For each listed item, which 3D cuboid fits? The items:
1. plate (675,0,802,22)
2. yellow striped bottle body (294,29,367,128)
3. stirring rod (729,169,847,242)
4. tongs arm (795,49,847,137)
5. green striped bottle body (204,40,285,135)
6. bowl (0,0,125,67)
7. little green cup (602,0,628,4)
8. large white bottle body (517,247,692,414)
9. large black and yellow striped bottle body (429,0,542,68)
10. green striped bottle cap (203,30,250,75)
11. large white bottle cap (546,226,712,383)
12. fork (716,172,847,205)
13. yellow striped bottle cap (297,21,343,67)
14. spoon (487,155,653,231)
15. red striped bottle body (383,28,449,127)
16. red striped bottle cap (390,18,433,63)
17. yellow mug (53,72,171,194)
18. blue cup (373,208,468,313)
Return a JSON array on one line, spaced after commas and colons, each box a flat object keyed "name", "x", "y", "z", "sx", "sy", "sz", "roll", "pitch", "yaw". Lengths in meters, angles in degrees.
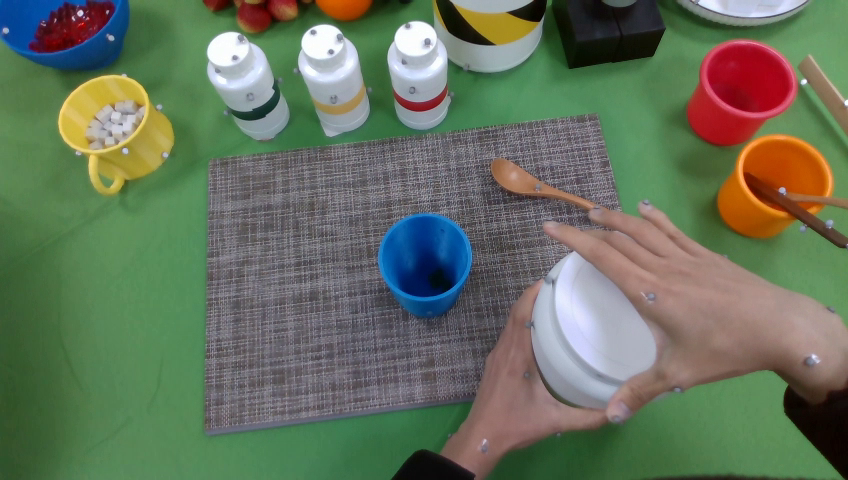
[{"name": "plate", "x": 0.378, "y": -0.351, "z": 0.749, "sx": 0.209, "sy": 0.038, "sz": 0.207, "roll": -1, "pitch": 70, "yaw": 2}, {"name": "yellow striped bottle body", "x": -0.102, "y": -0.180, "z": 0.660, "sx": 0.063, "sy": 0.121, "sz": 0.062, "roll": -1, "pitch": 69, "yaw": 4}, {"name": "stirring rod", "x": 0.343, "y": -0.037, "z": 0.582, "sx": 0.014, "sy": 0.006, "sz": 0.174, "roll": -5, "pitch": 26, "yaw": -2}, {"name": "tongs arm", "x": 0.516, "y": -0.051, "z": 0.632, "sx": 0.051, "sy": 0.027, "sz": 0.382, "roll": -19, "pitch": 71, "yaw": -7}, {"name": "green striped bottle body", "x": -0.196, "y": -0.171, "z": 0.661, "sx": 0.063, "sy": 0.120, "sz": 0.062, "roll": -1, "pitch": 69, "yaw": 2}, {"name": "bowl", "x": -0.423, "y": -0.262, "z": 0.726, "sx": 0.151, "sy": 0.077, "sz": 0.150, "roll": 0, "pitch": 70, "yaw": 1}, {"name": "little green cup", "x": 0.218, "y": -0.300, "z": 0.682, "sx": 0.061, "sy": 0.039, "sz": 0.061, "roll": 0, "pitch": 68, "yaw": 1}, {"name": "large white bottle body", "x": 0.152, "y": 0.075, "z": 0.516, "sx": 0.130, "sy": 0.186, "sz": 0.129, "roll": -1, "pitch": 68, "yaw": 3}, {"name": "large black and yellow striped bottle body", "x": 0.068, "y": -0.294, "z": 0.662, "sx": 0.131, "sy": 0.185, "sz": 0.130, "roll": -1, "pitch": 69, "yaw": 2}, {"name": "green striped bottle cap", "x": -0.200, "y": -0.190, "z": 0.612, "sx": 0.044, "sy": 0.020, "sz": 0.044, "roll": 0, "pitch": 68, "yaw": 1}, {"name": "large white bottle cap", "x": 0.147, "y": 0.044, "z": 0.437, "sx": 0.115, "sy": 0.018, "sz": 0.114, "roll": -1, "pitch": 69, "yaw": 2}, {"name": "fork", "x": 0.374, "y": -0.039, "z": 0.574, "sx": 0.028, "sy": 0.019, "sz": 0.205, "roll": -46, "pitch": 30, "yaw": -12}, {"name": "yellow striped bottle cap", "x": -0.105, "y": -0.198, "z": 0.612, "sx": 0.044, "sy": 0.019, "sz": 0.044, "roll": 0, "pitch": 71, "yaw": 1}, {"name": "spoon", "x": 0.156, "y": -0.045, "z": 0.648, "sx": 0.193, "sy": 0.022, "sz": 0.041, "roll": 23, "pitch": 47, "yaw": 10}, {"name": "red striped bottle body", "x": -0.008, "y": -0.181, "z": 0.657, "sx": 0.063, "sy": 0.120, "sz": 0.062, "roll": -2, "pitch": 67, "yaw": 6}, {"name": "red striped bottle cap", "x": -0.012, "y": -0.201, "z": 0.608, "sx": 0.044, "sy": 0.018, "sz": 0.044, "roll": 1, "pitch": 68, "yaw": -1}, {"name": "yellow mug", "x": -0.349, "y": -0.114, "z": 0.674, "sx": 0.100, "sy": 0.064, "sz": 0.130, "roll": 2, "pitch": 70, "yaw": 3}, {"name": "blue cup", "x": -0.002, "y": 0.029, "z": 0.585, "sx": 0.092, "sy": 0.101, "sz": 0.092, "roll": 0, "pitch": 69, "yaw": 1}]
